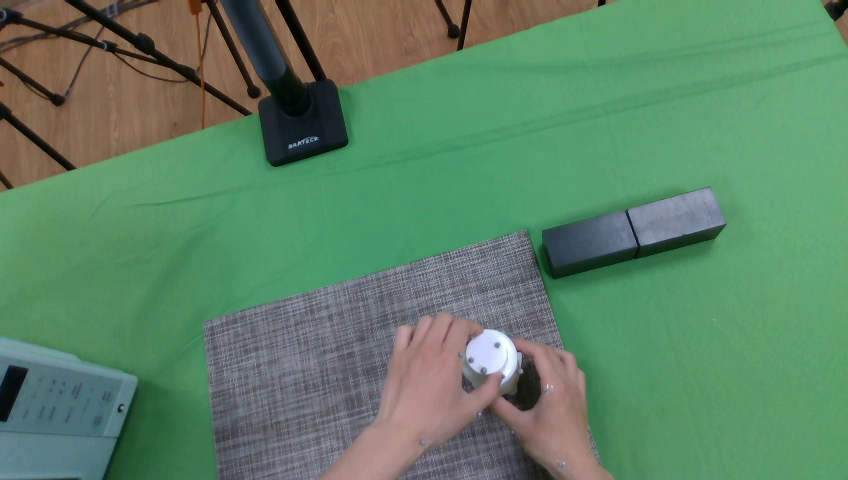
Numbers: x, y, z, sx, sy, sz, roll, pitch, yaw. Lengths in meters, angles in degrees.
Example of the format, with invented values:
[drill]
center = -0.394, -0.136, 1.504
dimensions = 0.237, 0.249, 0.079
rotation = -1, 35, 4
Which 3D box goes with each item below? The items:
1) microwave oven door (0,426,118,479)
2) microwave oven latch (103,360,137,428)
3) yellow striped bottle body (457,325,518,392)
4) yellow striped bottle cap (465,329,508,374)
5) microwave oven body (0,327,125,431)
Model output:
[microwave oven door]
center = -0.467, 0.365, 0.615
dimensions = 0.039, 0.246, 0.354
rotation = 10, 73, 14
[microwave oven latch]
center = -0.394, 0.196, 0.769
dimensions = 0.030, 0.030, 0.079
rotation = 13, 75, 14
[yellow striped bottle body]
center = 0.072, 0.133, 0.678
dimensions = 0.063, 0.121, 0.062
rotation = -3, 70, 10
[yellow striped bottle cap]
center = 0.065, 0.116, 0.629
dimensions = 0.044, 0.019, 0.044
rotation = -5, 68, 13
[microwave oven body]
center = -0.595, 0.302, 0.665
dimensions = 0.325, 0.262, 0.439
rotation = 11, 74, 13
